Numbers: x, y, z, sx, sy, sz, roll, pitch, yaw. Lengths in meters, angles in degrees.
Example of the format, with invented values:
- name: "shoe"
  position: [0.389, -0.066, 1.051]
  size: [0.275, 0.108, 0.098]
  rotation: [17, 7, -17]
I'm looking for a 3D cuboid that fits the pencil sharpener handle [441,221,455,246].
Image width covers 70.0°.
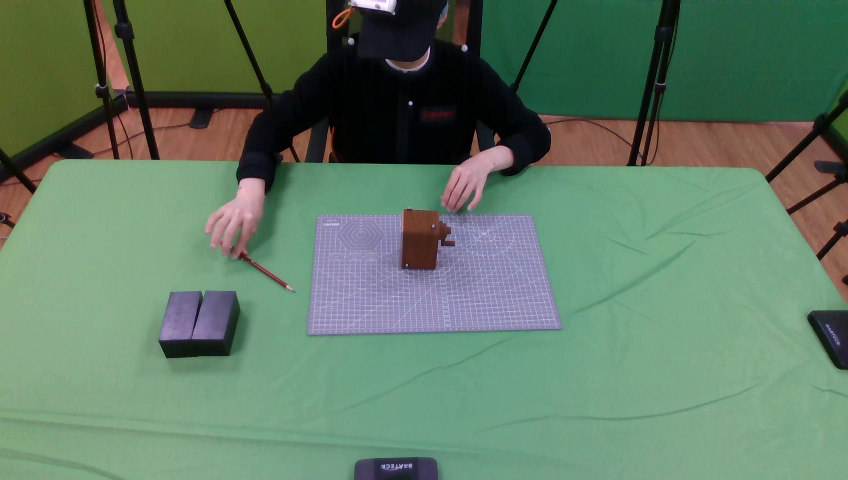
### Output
- name: "pencil sharpener handle"
  position: [0.046, -0.009, 1.129]
  size: [0.030, 0.068, 0.036]
  rotation: [2, 56, -2]

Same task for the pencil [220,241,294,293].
- name: "pencil"
  position: [-0.314, 0.049, 1.137]
  size: [0.193, 0.012, 0.012]
  rotation: [30, 51, 22]

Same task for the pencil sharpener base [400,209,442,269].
- name: "pencil sharpener base"
  position: [-0.006, 0.000, 1.134]
  size: [0.077, 0.107, 0.061]
  rotation: [2, 46, -2]
